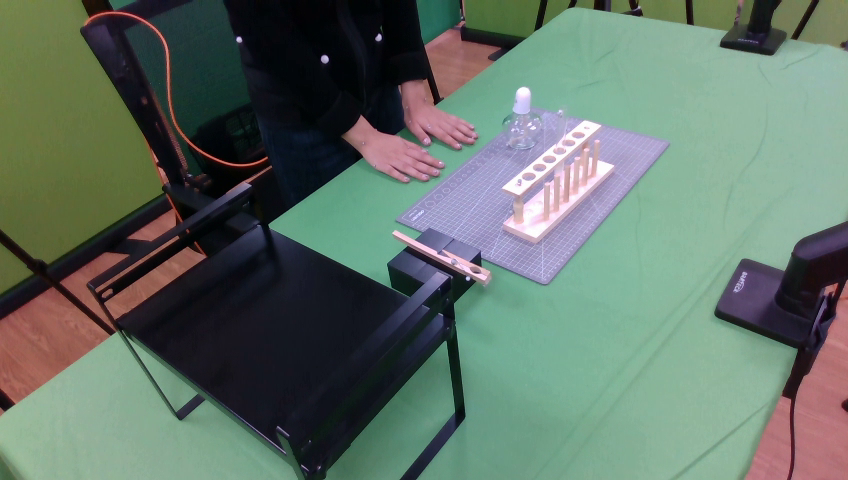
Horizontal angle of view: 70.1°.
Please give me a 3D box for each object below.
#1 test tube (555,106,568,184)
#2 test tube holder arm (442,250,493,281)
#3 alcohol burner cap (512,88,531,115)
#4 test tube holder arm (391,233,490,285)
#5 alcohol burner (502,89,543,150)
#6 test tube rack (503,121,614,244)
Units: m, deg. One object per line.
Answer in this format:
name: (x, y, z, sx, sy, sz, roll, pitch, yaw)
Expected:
test tube: (0.224, -0.151, 0.987, 0.017, 0.151, 0.017, -4, 43, 5)
test tube holder arm: (0.059, 0.036, 0.851, 0.087, 0.015, 0.010, 24, 57, 32)
alcohol burner cap: (0.183, -0.260, 1.123, 0.034, 0.048, 0.033, 0, 42, 0)
test tube holder arm: (0.020, 0.025, 0.872, 0.177, 0.015, 0.013, 23, 56, 32)
alcohol burner: (0.186, -0.233, 1.147, 0.078, 0.119, 0.077, -4, 42, 4)
test tube rack: (0.230, -0.102, 1.006, 0.066, 0.085, 0.243, 26, 51, 34)
